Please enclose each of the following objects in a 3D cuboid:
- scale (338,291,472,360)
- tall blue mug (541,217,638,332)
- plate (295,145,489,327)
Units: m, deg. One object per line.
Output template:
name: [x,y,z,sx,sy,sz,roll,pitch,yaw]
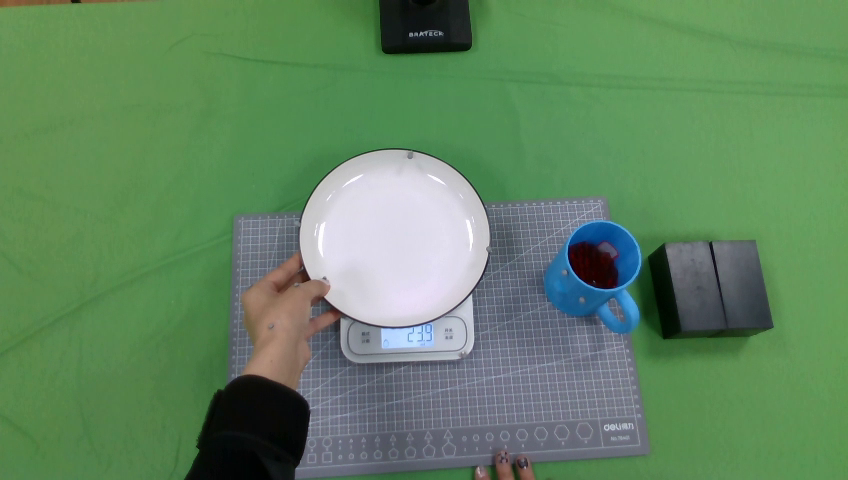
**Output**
scale: [-0.024,0.033,0.689,0.149,0.032,0.199,-1,72,-2]
tall blue mug: [0.188,0.039,0.652,0.107,0.108,0.077,32,73,9]
plate: [-0.034,-0.004,0.665,0.209,0.038,0.207,1,71,-3]
